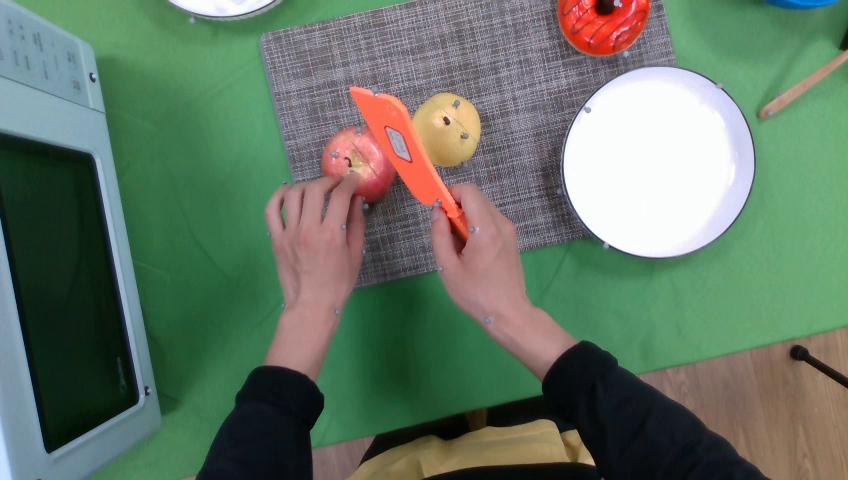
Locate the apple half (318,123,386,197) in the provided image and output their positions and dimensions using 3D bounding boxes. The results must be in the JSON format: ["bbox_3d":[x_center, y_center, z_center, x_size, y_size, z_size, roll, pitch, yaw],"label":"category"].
[{"bbox_3d":[-0.084,-0.078,0.652,0.053,0.074,0.081,-37,95,5],"label":"apple half"}]

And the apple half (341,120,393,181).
[{"bbox_3d":[-0.053,-0.102,0.650,0.033,0.081,0.081,-38,91,5],"label":"apple half"}]

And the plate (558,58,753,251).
[{"bbox_3d":[0.250,-0.092,0.667,0.209,0.038,0.209,0,92,0],"label":"plate"}]

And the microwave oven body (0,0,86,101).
[{"bbox_3d":[-0.492,0.017,0.565,0.326,0.260,0.442,-10,93,0],"label":"microwave oven body"}]

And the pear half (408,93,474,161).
[{"bbox_3d":[0.012,-0.114,0.632,0.076,0.110,0.056,37,91,4],"label":"pear half"}]

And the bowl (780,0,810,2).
[{"bbox_3d":[0.386,-0.319,0.641,0.151,0.077,0.151,0,93,0],"label":"bowl"}]

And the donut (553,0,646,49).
[{"bbox_3d":[0.190,-0.258,0.658,0.099,0.048,0.099,0,93,3],"label":"donut"}]

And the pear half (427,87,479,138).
[{"bbox_3d":[0.035,-0.141,0.641,0.070,0.088,0.031,36,92,5],"label":"pear half"}]

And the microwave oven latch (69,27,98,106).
[{"bbox_3d":[-0.376,-0.185,0.652,0.030,0.029,0.079,-8,93,0],"label":"microwave oven latch"}]

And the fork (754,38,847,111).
[{"bbox_3d":[0.446,-0.209,0.641,0.207,0.018,0.028,-40,98,22],"label":"fork"}]

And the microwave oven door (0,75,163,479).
[{"bbox_3d":[-0.342,0.035,0.559,0.039,0.243,0.356,-10,92,1],"label":"microwave oven door"}]

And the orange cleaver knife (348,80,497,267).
[{"bbox_3d":[0.001,-0.056,0.549,0.012,0.076,0.213,-46,122,-18],"label":"orange cleaver knife"}]

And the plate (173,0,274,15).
[{"bbox_3d":[-0.218,-0.348,0.664,0.208,0.039,0.207,0,92,0],"label":"plate"}]
